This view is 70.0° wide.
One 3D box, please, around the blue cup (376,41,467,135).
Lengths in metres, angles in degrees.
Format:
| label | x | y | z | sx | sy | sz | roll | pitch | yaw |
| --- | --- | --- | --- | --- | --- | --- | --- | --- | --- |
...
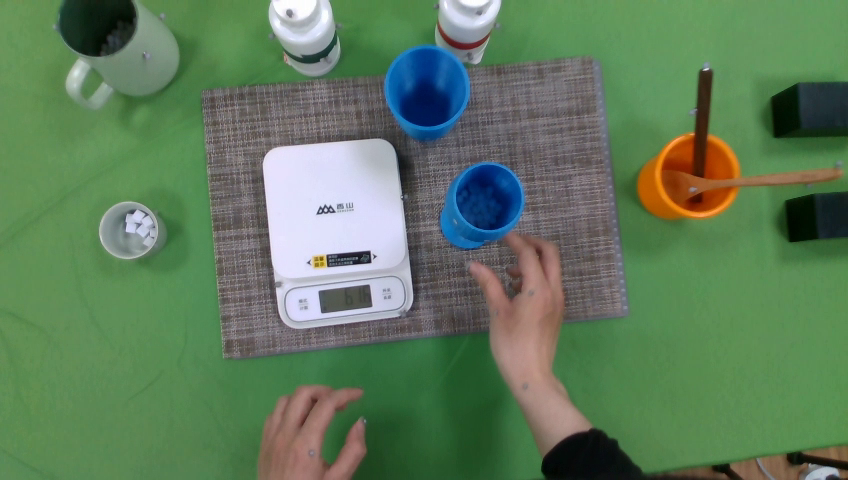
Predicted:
| label | x | y | z | sx | sy | sz | roll | pitch | yaw |
| --- | --- | --- | --- | --- | --- | --- | --- | --- | --- |
| blue cup | -0.001 | -0.153 | 0.648 | 0.093 | 0.100 | 0.092 | 0 | 89 | -2 |

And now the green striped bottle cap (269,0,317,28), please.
| label | x | y | z | sx | sy | sz | roll | pitch | yaw |
| --- | --- | --- | --- | --- | --- | --- | --- | --- | --- |
| green striped bottle cap | -0.127 | -0.230 | 0.584 | 0.044 | 0.020 | 0.044 | 0 | 86 | -1 |

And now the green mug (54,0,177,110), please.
| label | x | y | z | sx | sy | sz | roll | pitch | yaw |
| --- | --- | --- | --- | --- | --- | --- | --- | --- | --- |
| green mug | -0.328 | -0.194 | 0.636 | 0.092 | 0.105 | 0.125 | 29 | 85 | -1 |

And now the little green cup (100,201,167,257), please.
| label | x | y | z | sx | sy | sz | roll | pitch | yaw |
| --- | --- | --- | --- | --- | --- | --- | --- | --- | --- |
| little green cup | -0.312 | -0.011 | 0.658 | 0.061 | 0.038 | 0.061 | 0 | 87 | -4 |

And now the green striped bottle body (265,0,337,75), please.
| label | x | y | z | sx | sy | sz | roll | pitch | yaw |
| --- | --- | --- | --- | --- | --- | --- | --- | --- | --- |
| green striped bottle body | -0.129 | -0.224 | 0.640 | 0.063 | 0.119 | 0.063 | 0 | 86 | -3 |

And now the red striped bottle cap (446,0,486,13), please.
| label | x | y | z | sx | sy | sz | roll | pitch | yaw |
| --- | --- | --- | --- | --- | --- | --- | --- | --- | --- |
| red striped bottle cap | 0.042 | -0.249 | 0.596 | 0.044 | 0.018 | 0.044 | 0 | 84 | -2 |

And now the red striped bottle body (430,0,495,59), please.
| label | x | y | z | sx | sy | sz | roll | pitch | yaw |
| --- | --- | --- | --- | --- | --- | --- | --- | --- | --- |
| red striped bottle body | 0.040 | -0.245 | 0.650 | 0.063 | 0.120 | 0.063 | 0 | 86 | -3 |

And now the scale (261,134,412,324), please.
| label | x | y | z | sx | sy | sz | roll | pitch | yaw |
| --- | --- | --- | --- | --- | --- | --- | --- | --- | --- |
| scale | -0.096 | -0.013 | 0.669 | 0.149 | 0.031 | 0.200 | -7 | 87 | -3 |

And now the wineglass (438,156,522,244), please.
| label | x | y | z | sx | sy | sz | roll | pitch | yaw |
| --- | --- | --- | --- | --- | --- | --- | --- | --- | --- |
| wineglass | 0.050 | -0.034 | 0.606 | 0.074 | 0.172 | 0.073 | 0 | 85 | -2 |

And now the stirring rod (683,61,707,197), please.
| label | x | y | z | sx | sy | sz | roll | pitch | yaw |
| --- | --- | --- | --- | --- | --- | --- | --- | --- | --- |
| stirring rod | 0.284 | -0.110 | 0.637 | 0.014 | 0.178 | 0.006 | 9 | 52 | 27 |

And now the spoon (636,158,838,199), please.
| label | x | y | z | sx | sy | sz | roll | pitch | yaw |
| --- | --- | --- | --- | --- | --- | --- | --- | --- | --- |
| spoon | 0.320 | -0.068 | 0.638 | 0.022 | 0.192 | 0.041 | -11 | 97 | -47 |
